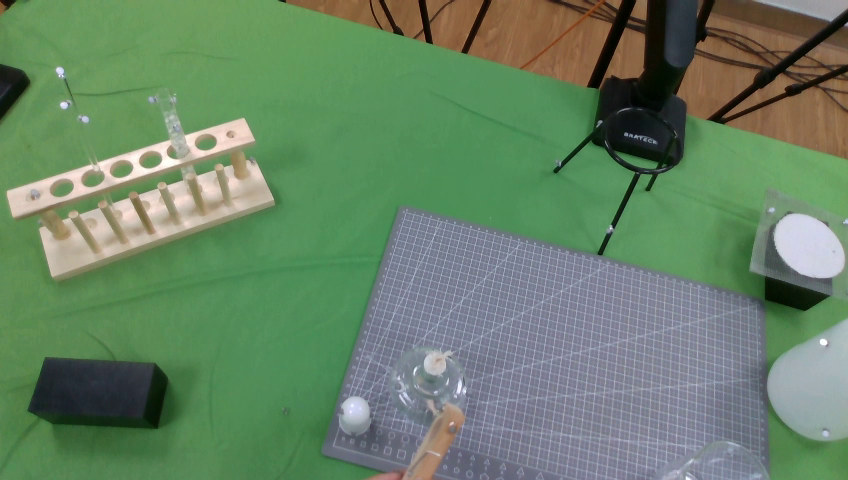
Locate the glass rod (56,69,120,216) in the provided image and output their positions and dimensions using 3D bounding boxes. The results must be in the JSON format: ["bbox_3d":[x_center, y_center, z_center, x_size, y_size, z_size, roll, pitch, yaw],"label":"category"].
[{"bbox_3d":[-0.328,-0.086,0.598,0.008,0.201,0.008,5,53,-7],"label":"glass rod"}]

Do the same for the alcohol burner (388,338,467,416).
[{"bbox_3d":[0.006,0.126,0.580,0.078,0.120,0.077,4,61,-7],"label":"alcohol burner"}]

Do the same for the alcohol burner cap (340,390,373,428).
[{"bbox_3d":[-0.066,0.164,0.593,0.034,0.048,0.033,2,63,-3],"label":"alcohol burner cap"}]

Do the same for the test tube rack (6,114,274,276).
[{"bbox_3d":[-0.296,-0.050,0.658,0.243,0.086,0.066,-22,67,-17],"label":"test tube rack"}]

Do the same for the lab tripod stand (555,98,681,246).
[{"bbox_3d":[0.230,-0.085,0.711,0.148,0.132,0.147,3,63,-6],"label":"lab tripod stand"}]

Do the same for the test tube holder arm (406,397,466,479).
[{"bbox_3d":[0.005,0.162,0.465,0.015,0.010,0.088,29,92,-20],"label":"test tube holder arm"}]

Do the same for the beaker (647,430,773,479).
[{"bbox_3d":[0.258,0.224,0.565,0.084,0.101,0.073,12,61,1],"label":"beaker"}]

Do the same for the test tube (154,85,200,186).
[{"bbox_3d":[-0.256,-0.103,0.634,0.017,0.151,0.017,4,59,-6],"label":"test tube"}]

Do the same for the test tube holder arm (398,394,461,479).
[{"bbox_3d":[-0.019,0.201,0.472,0.015,0.013,0.178,29,92,-19],"label":"test tube holder arm"}]

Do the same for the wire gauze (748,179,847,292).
[{"bbox_3d":[0.446,-0.005,0.708,0.121,0.011,0.124,22,61,5],"label":"wire gauze"}]

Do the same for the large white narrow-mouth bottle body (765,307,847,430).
[{"bbox_3d":[0.431,0.117,0.591,0.102,0.196,0.101,2,61,-4],"label":"large white narrow-mouth bottle body"}]
